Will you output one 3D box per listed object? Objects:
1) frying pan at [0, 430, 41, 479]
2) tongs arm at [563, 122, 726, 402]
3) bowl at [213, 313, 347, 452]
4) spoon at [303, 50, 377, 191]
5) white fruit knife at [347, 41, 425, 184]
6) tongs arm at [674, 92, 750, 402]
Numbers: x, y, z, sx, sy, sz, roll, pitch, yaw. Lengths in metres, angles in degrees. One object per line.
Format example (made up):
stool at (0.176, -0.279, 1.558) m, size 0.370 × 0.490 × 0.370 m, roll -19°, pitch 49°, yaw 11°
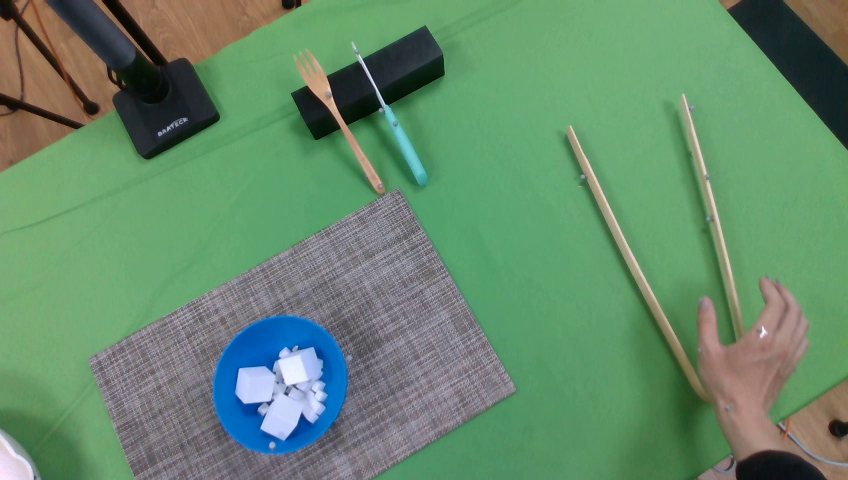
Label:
frying pan at (-0.516, 0.422, 0.651) m, size 0.307 × 0.103 × 0.483 m, roll -31°, pitch 67°, yaw -4°
tongs arm at (0.260, 0.020, 0.746) m, size 0.028 × 0.028 × 0.385 m, roll -22°, pitch 75°, yaw -5°
bowl at (-0.158, 0.166, 0.705) m, size 0.151 × 0.077 × 0.150 m, roll -1°, pitch 75°, yaw 3°
spoon at (-0.106, -0.152, 0.782) m, size 0.041 × 0.021 × 0.194 m, roll -20°, pitch 96°, yaw 21°
white fruit knife at (-0.052, -0.167, 0.788) m, size 0.016 × 0.027 × 0.207 m, roll -28°, pitch 90°, yaw -9°
tongs arm at (0.338, -0.001, 0.742) m, size 0.051 × 0.026 × 0.382 m, roll -10°, pitch 76°, yaw 2°
